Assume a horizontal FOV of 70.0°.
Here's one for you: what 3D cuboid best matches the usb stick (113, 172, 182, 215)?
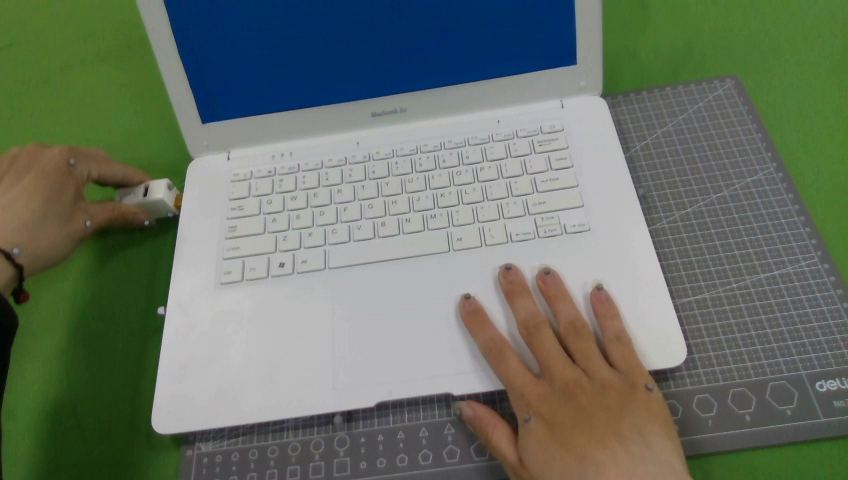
[{"bbox_3d":[-0.218,-0.038,0.494,0.059,0.027,0.021,-7,57,4],"label":"usb stick"}]

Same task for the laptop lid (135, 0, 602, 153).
[{"bbox_3d":[-0.044,-0.197,0.458,0.356,0.243,0.013,-10,28,4],"label":"laptop lid"}]

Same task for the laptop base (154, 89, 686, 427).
[{"bbox_3d":[-0.016,0.003,0.453,0.354,0.023,0.233,-8,61,3],"label":"laptop base"}]
